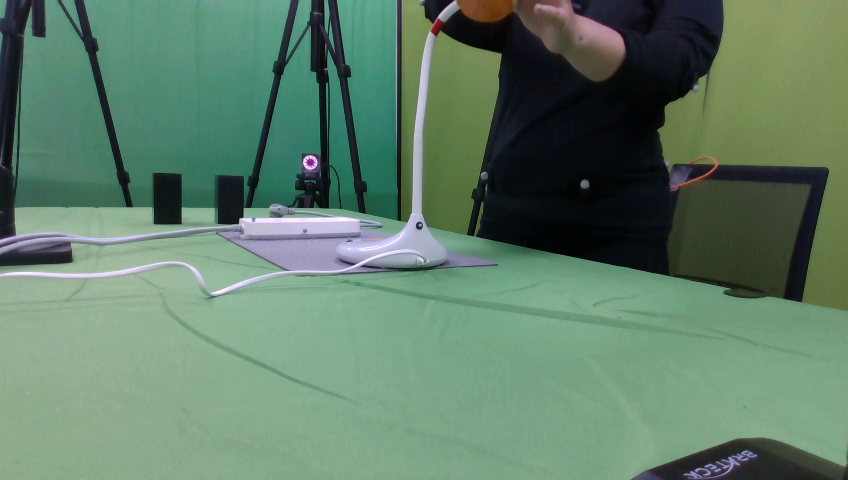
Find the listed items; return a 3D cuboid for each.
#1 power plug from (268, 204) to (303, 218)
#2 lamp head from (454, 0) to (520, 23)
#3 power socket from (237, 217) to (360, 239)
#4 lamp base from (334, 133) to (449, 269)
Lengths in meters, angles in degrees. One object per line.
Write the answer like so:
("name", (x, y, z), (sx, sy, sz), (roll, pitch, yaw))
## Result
("power plug", (-0.327, -0.060, 1.404), (0.073, 0.035, 0.052), (22, -14, -26))
("lamp head", (0.073, -0.319, 0.707), (0.112, 0.122, 0.112), (8, -3, 1))
("power socket", (-0.221, -0.023, 1.080), (0.228, 0.032, 0.072), (-2, 8, -33))
("lamp base", (-0.034, -0.057, 0.831), (0.161, 0.180, 0.178), (-2, 11, -36))
